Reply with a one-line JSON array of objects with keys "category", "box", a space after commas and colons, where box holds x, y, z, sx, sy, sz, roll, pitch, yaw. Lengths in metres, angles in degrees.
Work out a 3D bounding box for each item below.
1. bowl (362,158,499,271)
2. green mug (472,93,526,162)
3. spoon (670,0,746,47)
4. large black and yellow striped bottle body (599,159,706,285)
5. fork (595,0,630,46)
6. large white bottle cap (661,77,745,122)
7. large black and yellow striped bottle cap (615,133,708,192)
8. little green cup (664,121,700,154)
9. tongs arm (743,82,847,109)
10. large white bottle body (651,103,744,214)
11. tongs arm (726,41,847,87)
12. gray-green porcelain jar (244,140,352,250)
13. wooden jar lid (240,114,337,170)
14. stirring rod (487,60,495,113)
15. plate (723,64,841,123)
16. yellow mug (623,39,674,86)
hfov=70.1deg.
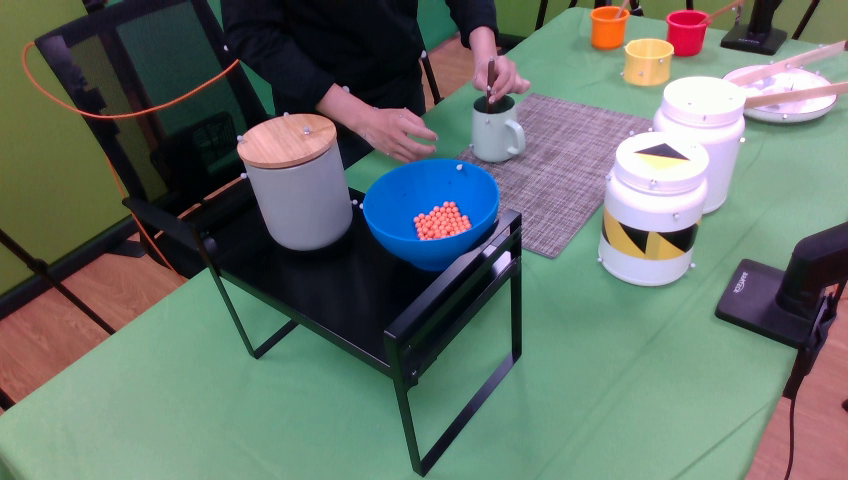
[{"category": "bowl", "box": [0.011, -0.019, 0.679, 0.151, 0.077, 0.150, -5, 41, 5]}, {"category": "green mug", "box": [0.144, -0.201, 1.122, 0.093, 0.105, 0.124, -29, 44, -23]}, {"category": "spoon", "box": [0.629, -0.485, 1.350, 0.022, 0.193, 0.042, 48, 54, -7]}, {"category": "large black and yellow striped bottle body", "box": [0.320, -0.042, 0.854, 0.131, 0.185, 0.130, -4, 41, 4]}, {"category": "fork", "box": [0.480, -0.556, 1.452, 0.028, 0.019, 0.207, 42, 104, 40]}, {"category": "large white bottle cap", "box": [0.415, -0.210, 0.904, 0.115, 0.018, 0.114, -4, 40, 4]}, {"category": "large black and yellow striped bottle cap", "box": [0.312, -0.105, 0.798, 0.115, 0.019, 0.114, -5, 41, 5]}, {"category": "little green cup", "box": [0.473, -0.188, 1.113, 0.061, 0.039, 0.061, -5, 40, 5]}, {"category": "tongs arm", "box": [0.738, -0.282, 1.133, 0.388, 0.028, 0.028, -9, 46, -5]}, {"category": "large white bottle body", "box": [0.426, -0.146, 0.958, 0.130, 0.185, 0.130, -4, 40, 4]}, {"category": "tongs arm", "box": [0.712, -0.332, 1.194, 0.386, 0.026, 0.050, -18, 44, -16]}, {"category": "gray-green porcelain jar", "box": [-0.144, -0.060, 0.714, 0.106, 0.127, 0.105, -4, 41, 4]}, {"category": "wooden jar lid", "box": [-0.149, -0.106, 0.673, 0.108, 0.021, 0.108, -6, 39, 5]}, {"category": "stirring rod", "box": [0.118, -0.240, 1.084, 0.006, 0.177, 0.014, 27, 50, 28]}, {"category": "plate", "box": [0.695, -0.282, 1.189, 0.207, 0.039, 0.206, -4, 40, 4]}, {"category": "yellow mug", "box": [0.485, -0.398, 1.334, 0.100, 0.064, 0.130, -18, 41, -10]}]
